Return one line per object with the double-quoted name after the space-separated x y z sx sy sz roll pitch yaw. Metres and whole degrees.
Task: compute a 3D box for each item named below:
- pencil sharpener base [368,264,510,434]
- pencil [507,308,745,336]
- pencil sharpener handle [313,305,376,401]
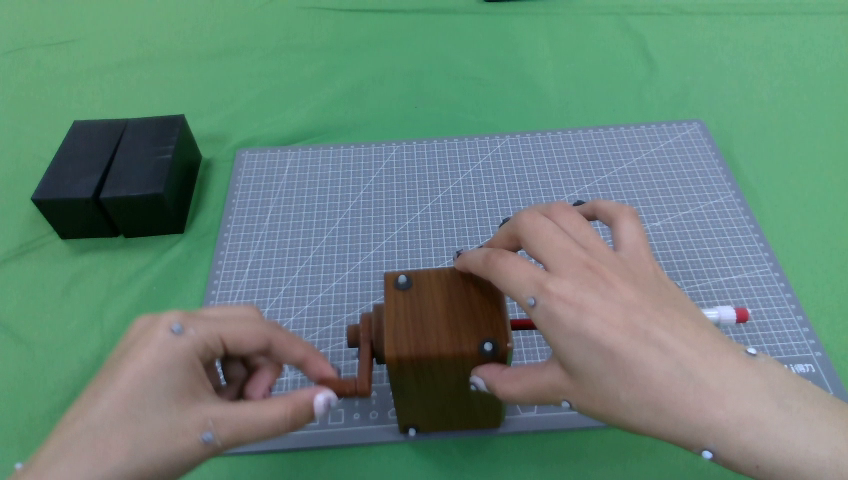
0.009 0.071 0.375 0.077 0.108 0.060 -4 50 0 "pencil sharpener base"
0.093 0.050 0.357 0.194 0.012 0.012 -3 50 -2 "pencil"
-0.043 0.064 0.339 0.030 0.036 0.067 -4 28 0 "pencil sharpener handle"
